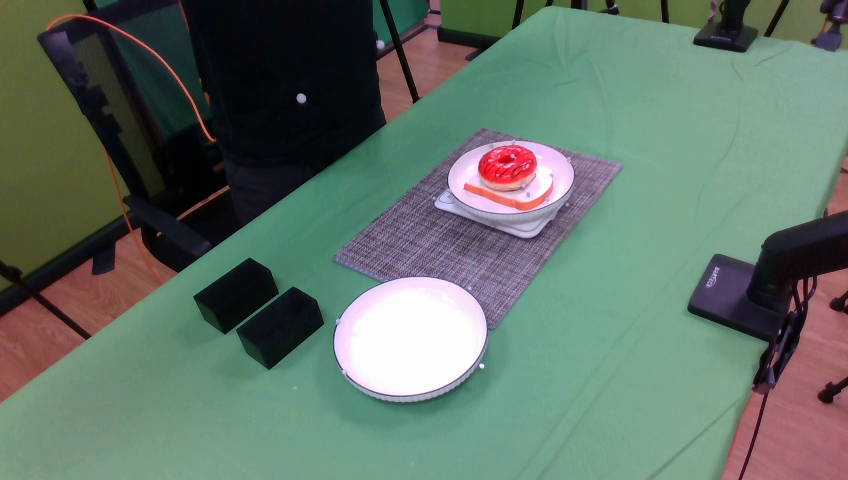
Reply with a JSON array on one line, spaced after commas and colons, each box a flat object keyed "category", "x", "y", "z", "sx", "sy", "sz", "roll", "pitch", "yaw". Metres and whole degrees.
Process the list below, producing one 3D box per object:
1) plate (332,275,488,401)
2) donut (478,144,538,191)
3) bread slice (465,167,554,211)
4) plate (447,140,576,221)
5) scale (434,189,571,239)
[{"category": "plate", "x": -0.017, "y": 0.131, "z": 0.808, "sx": 0.207, "sy": 0.039, "sz": 0.206, "roll": -4, "pitch": 40, "yaw": 4}, {"category": "donut", "x": 0.135, "y": -0.119, "z": 0.983, "sx": 0.099, "sy": 0.048, "sz": 0.098, "roll": -7, "pitch": 41, "yaw": 7}, {"category": "bread slice", "x": 0.149, "y": -0.095, "z": 0.999, "sx": 0.130, "sy": 0.019, "sz": 0.105, "roll": 25, "pitch": 52, "yaw": 33}, {"category": "plate", "x": 0.143, "y": -0.094, "z": 0.995, "sx": 0.209, "sy": 0.038, "sz": 0.208, "roll": -4, "pitch": 41, "yaw": 4}, {"category": "scale", "x": 0.132, "y": -0.075, "z": 1.025, "sx": 0.199, "sy": 0.032, "sz": 0.149, "roll": 22, "pitch": 48, "yaw": 30}]
